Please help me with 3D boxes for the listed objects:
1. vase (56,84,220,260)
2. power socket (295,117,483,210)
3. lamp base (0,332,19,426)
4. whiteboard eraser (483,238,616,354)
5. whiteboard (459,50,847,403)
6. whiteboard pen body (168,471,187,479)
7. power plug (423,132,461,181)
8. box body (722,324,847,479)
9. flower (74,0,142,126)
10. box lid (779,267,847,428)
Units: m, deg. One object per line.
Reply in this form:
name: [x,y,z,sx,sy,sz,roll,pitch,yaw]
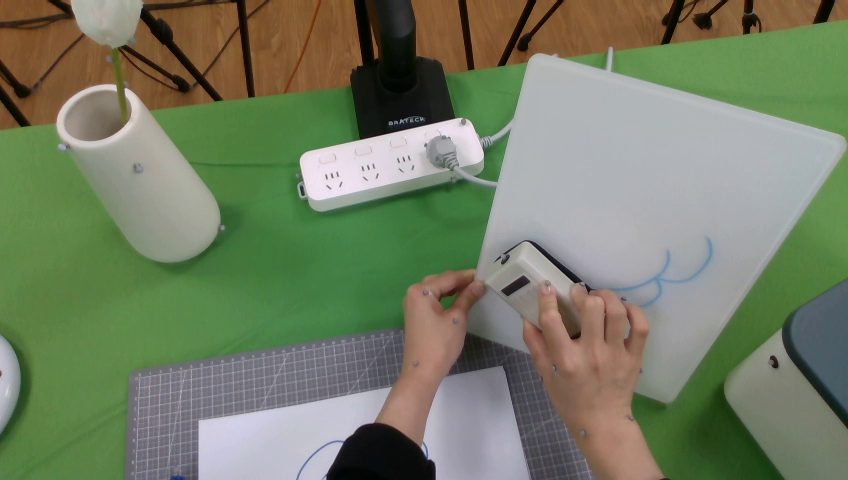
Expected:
vase: [-0.274,-0.059,0.593,0.098,0.201,0.097,0,61,1]
power socket: [-0.038,-0.091,0.706,0.227,0.033,0.071,-13,64,-8]
lamp base: [-0.484,0.108,0.513,0.178,0.182,0.160,20,63,14]
whiteboard eraser: [0.110,0.048,0.530,0.113,0.055,0.041,41,42,-10]
whiteboard: [0.179,-0.027,0.555,0.216,0.308,0.143,19,43,10]
whiteboard pen body: [-0.219,0.270,0.514,0.017,0.017,0.139,-1,64,-1]
power plug: [0.019,-0.087,0.679,0.035,0.053,0.072,-4,68,-3]
box body: [0.465,0.186,0.490,0.254,0.161,0.360,-26,65,-13]
flower: [-0.253,-0.094,0.519,0.038,0.362,0.044,39,58,0]
box lid: [0.464,0.148,0.424,0.263,0.015,0.368,-26,65,-13]
